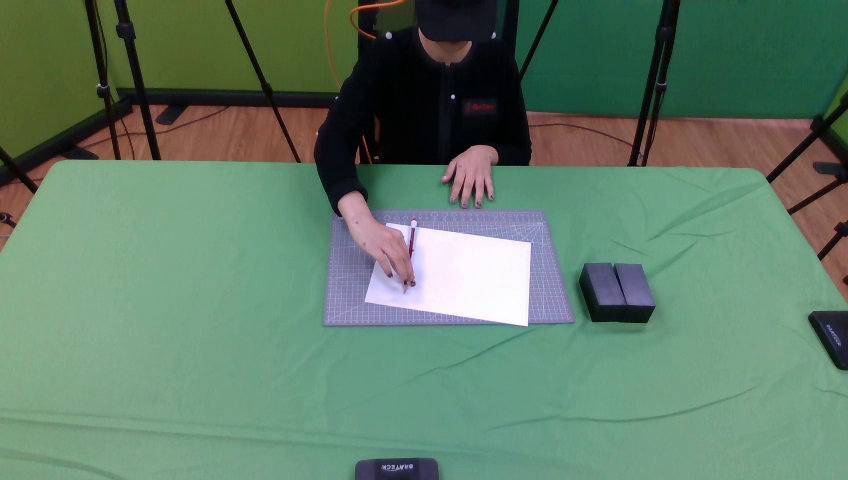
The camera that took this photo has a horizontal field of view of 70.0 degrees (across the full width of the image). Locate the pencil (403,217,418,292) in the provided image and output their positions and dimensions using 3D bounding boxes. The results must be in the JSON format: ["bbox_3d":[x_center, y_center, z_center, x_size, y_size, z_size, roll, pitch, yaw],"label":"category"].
[{"bbox_3d":[-0.027,0.026,1.173,0.012,0.012,0.193,6,47,2],"label":"pencil"}]
